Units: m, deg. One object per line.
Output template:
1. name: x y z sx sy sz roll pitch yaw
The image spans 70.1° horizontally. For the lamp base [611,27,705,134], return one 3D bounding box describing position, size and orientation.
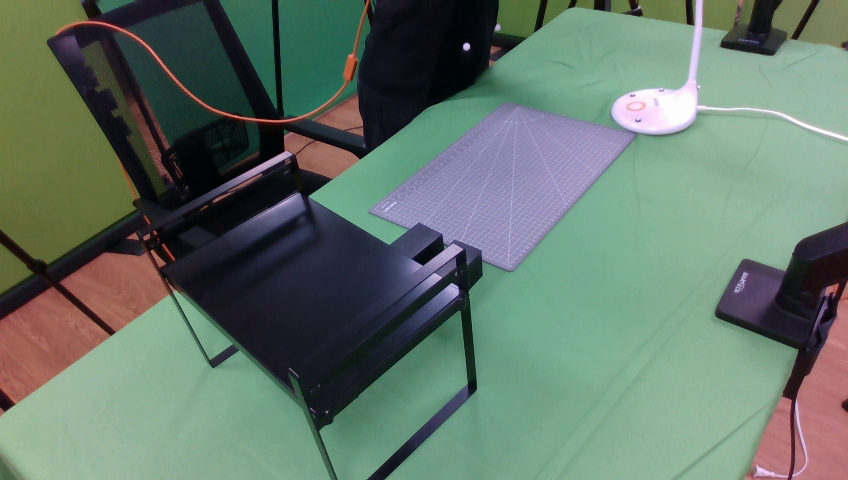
1. lamp base: 0.459 -0.316 1.154 0.179 0.181 0.159 -6 41 -1
